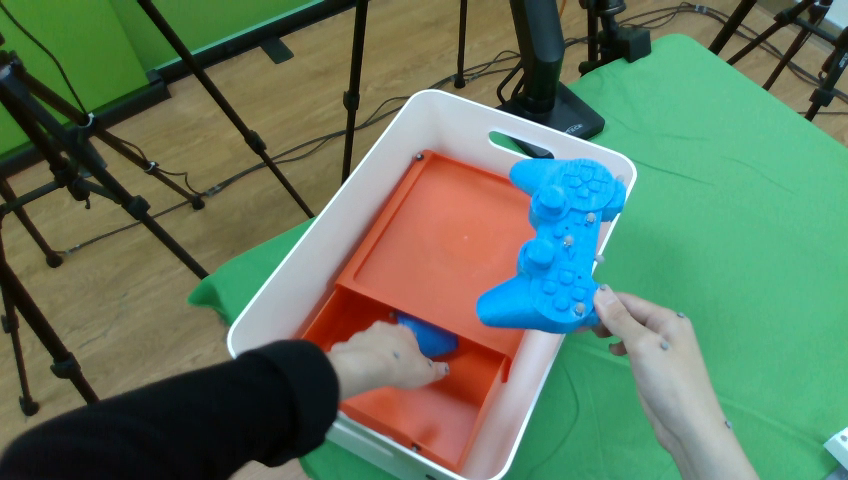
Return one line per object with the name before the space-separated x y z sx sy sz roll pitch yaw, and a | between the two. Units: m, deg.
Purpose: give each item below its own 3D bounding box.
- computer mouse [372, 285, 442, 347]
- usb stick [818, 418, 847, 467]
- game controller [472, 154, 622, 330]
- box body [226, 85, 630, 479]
computer mouse | -0.016 0.076 0.660 0.063 0.041 0.116 -2 17 9
usb stick | 0.415 0.204 0.583 0.021 0.027 0.058 -26 63 -22
game controller | 0.100 -0.003 0.477 0.097 0.052 0.154 13 66 8
box body | 0.020 0.044 0.620 0.253 0.162 0.362 23 60 15
